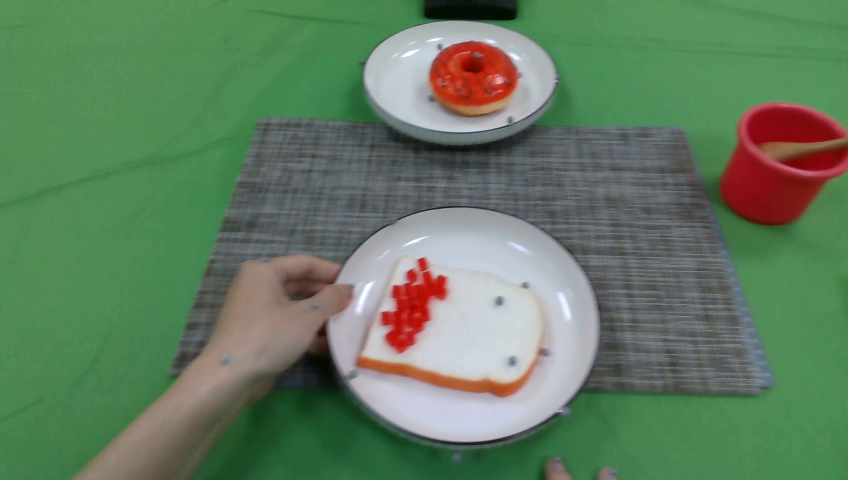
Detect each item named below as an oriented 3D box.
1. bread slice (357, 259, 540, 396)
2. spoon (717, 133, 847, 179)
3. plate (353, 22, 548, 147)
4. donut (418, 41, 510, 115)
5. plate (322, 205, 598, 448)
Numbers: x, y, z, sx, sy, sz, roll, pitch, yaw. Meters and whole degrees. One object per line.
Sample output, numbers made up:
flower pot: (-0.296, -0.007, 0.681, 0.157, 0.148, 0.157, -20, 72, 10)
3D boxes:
bread slice: (0.025, 0.065, 0.472, 0.131, 0.019, 0.104, 10, 53, 11)
spoon: (0.350, -0.087, 0.523, 0.193, 0.022, 0.041, -12, 34, 43)
plate: (0.028, -0.167, 0.657, 0.208, 0.039, 0.205, 1, 49, 0)
donut: (0.043, -0.173, 0.648, 0.099, 0.048, 0.098, 1, 52, -1)
plate: (0.027, 0.061, 0.471, 0.209, 0.038, 0.207, 0, 52, 0)
